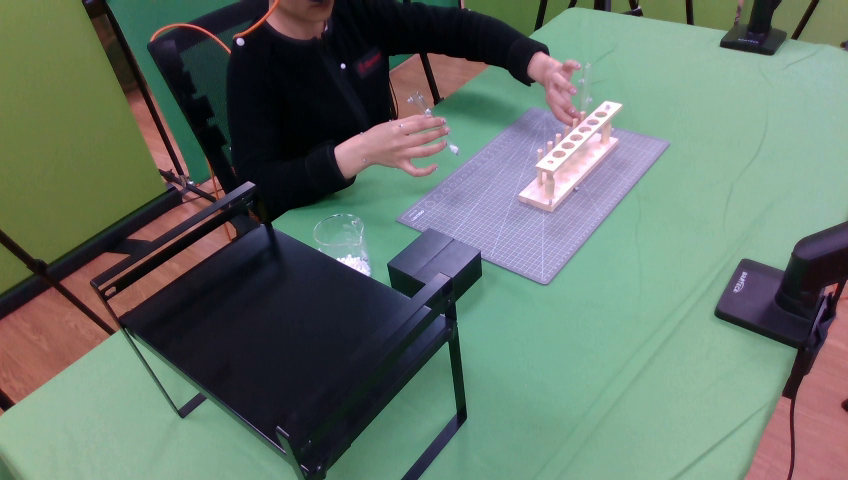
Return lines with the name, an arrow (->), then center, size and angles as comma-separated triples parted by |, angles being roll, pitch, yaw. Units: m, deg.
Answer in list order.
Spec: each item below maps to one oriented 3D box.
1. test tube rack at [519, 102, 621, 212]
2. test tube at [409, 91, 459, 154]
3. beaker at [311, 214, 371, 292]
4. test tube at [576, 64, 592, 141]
test tube rack -> 0.260, -0.155, 1.066 | 0.066, 0.085, 0.243 | 24, 49, 32
test tube -> 0.020, -0.195, 1.023 | 0.017, 0.151, 0.017 | -19, 48, 24
beaker -> -0.118, 0.022, 0.908 | 0.083, 0.101, 0.074 | 26, 51, 32
test tube -> 0.285, -0.243, 1.078 | 0.017, 0.151, 0.017 | -3, 40, 3
